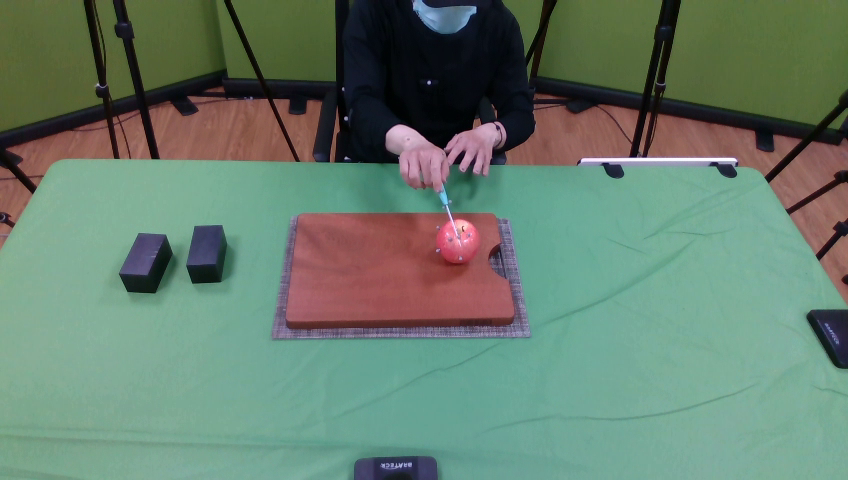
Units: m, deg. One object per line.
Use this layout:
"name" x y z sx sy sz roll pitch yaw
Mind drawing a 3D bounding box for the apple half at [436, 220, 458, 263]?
"apple half" 0.039 0.005 1.115 0.033 0.081 0.081 -1 46 -10

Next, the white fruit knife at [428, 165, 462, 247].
"white fruit knife" 0.041 -0.067 1.114 0.016 0.027 0.206 -18 54 -2

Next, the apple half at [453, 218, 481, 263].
"apple half" 0.077 0.003 1.122 0.053 0.075 0.080 -1 42 -11
